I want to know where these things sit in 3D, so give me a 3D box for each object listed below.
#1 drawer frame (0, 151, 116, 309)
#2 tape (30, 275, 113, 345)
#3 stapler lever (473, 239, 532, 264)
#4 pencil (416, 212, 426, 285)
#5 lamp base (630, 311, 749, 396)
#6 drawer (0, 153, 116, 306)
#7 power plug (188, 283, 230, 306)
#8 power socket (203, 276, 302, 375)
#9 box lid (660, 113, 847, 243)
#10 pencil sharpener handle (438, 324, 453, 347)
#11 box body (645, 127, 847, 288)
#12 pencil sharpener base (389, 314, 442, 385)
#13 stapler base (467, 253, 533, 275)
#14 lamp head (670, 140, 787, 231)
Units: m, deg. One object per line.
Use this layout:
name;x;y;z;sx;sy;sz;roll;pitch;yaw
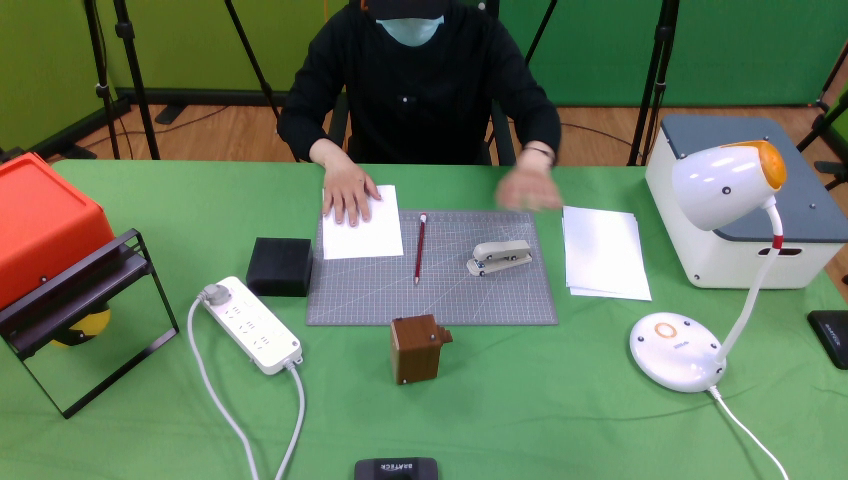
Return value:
drawer frame;-0.604;-0.013;0.875;0.201;0.083;0.213;31;52;23
tape;-0.593;0.117;1.021;0.117;0.053;0.116;3;46;-2
stapler lever;0.150;0.017;1.155;0.118;0.040;0.026;-13;50;-17
pencil;-0.007;0.014;1.190;0.012;0.012;0.193;5;47;0
lamp base;0.447;0.143;0.983;0.161;0.181;0.178;-24;55;-24
drawer;-0.601;-0.015;0.880;0.193;0.073;0.211;32;53;23
power plug;-0.368;0.099;1.036;0.072;0.053;0.035;-24;52;-25
power socket;-0.297;0.141;1.034;0.072;0.033;0.225;-34;58;-30
box lid;0.628;-0.132;1.170;0.263;0.015;0.369;1;46;-3
pencil sharpener handle;0.036;0.155;0.976;0.031;0.068;0.036;-8;70;-11
box body;0.625;-0.080;1.222;0.254;0.161;0.361;0;46;-3
pencil sharpener base;-0.013;0.175;0.971;0.077;0.107;0.061;-8;47;-11
stapler base;0.148;0.035;1.171;0.131;0.024;0.041;-12;50;-18
lamp head;0.415;-0.078;0.811;0.113;0.123;0.112;13;70;-37
